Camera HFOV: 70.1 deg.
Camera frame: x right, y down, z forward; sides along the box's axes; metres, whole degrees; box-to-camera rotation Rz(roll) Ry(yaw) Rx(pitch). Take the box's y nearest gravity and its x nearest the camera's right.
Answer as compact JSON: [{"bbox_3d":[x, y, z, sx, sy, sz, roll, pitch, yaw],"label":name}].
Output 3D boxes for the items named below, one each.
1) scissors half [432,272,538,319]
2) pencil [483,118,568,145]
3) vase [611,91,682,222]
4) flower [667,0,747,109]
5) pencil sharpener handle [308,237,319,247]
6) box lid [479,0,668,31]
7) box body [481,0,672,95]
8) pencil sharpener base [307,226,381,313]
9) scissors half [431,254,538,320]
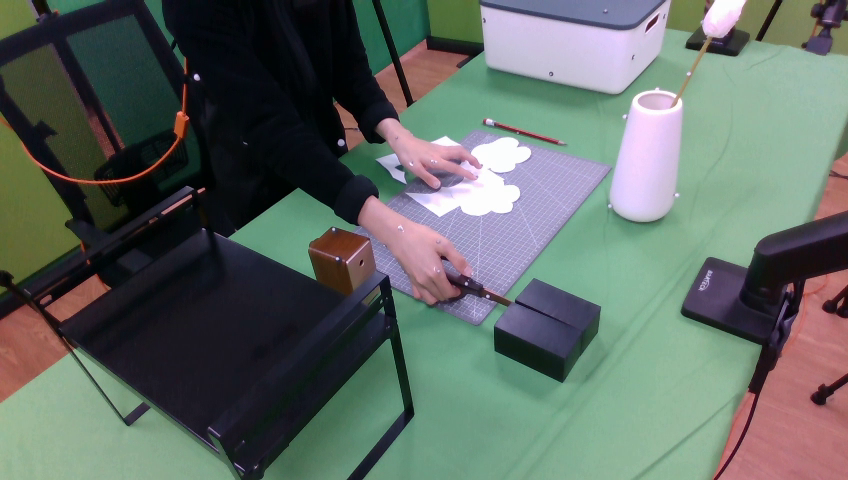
[{"bbox_3d":[0.081,0.080,0.839,0.174,0.040,0.013,16,39,37],"label":"scissors half"},{"bbox_3d":[0.202,-0.217,1.212,0.192,0.012,0.012,24,49,29],"label":"pencil"},{"bbox_3d":[0.348,-0.125,0.935,0.098,0.201,0.097,-3,40,3],"label":"vase"},{"bbox_3d":[0.354,-0.187,0.879,0.038,0.362,0.044,30,48,14],"label":"flower"},{"bbox_3d":[-0.159,0.017,0.892,0.030,0.068,0.036,18,61,28],"label":"pencil sharpener handle"},{"bbox_3d":[0.335,-0.536,1.331,0.368,0.015,0.264,23,49,30],"label":"box lid"},{"bbox_3d":[0.341,-0.480,1.381,0.361,0.161,0.255,22,48,30],"label":"box body"},{"bbox_3d":[-0.116,0.043,0.875,0.076,0.107,0.061,18,47,27],"label":"pencil sharpener base"},{"bbox_3d":[0.080,0.064,0.827,0.174,0.040,0.013,31,52,24],"label":"scissors half"}]
